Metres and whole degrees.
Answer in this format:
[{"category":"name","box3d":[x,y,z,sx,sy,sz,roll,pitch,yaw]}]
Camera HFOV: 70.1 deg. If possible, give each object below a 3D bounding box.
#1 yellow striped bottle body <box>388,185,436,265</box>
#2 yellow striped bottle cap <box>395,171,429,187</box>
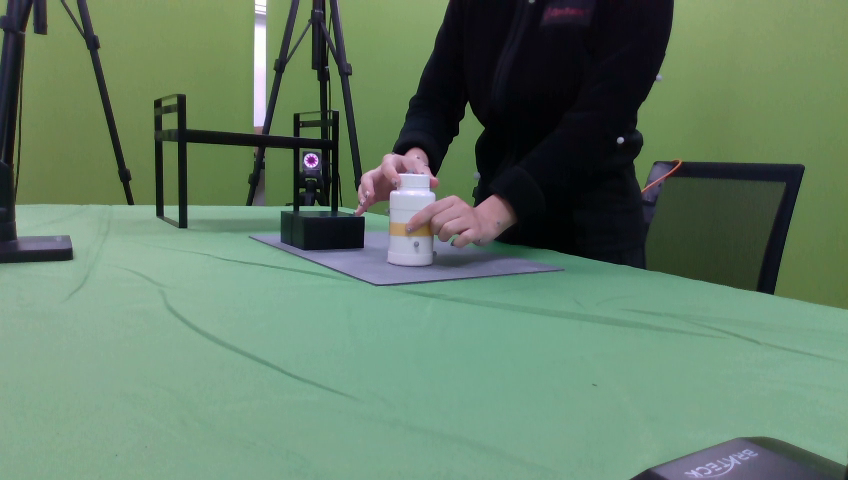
[{"category":"yellow striped bottle body","box3d":[-0.016,-0.030,0.810,0.063,0.120,0.063,2,7,0]},{"category":"yellow striped bottle cap","box3d":[-0.016,-0.081,0.803,0.044,0.018,0.044,4,5,0]}]
